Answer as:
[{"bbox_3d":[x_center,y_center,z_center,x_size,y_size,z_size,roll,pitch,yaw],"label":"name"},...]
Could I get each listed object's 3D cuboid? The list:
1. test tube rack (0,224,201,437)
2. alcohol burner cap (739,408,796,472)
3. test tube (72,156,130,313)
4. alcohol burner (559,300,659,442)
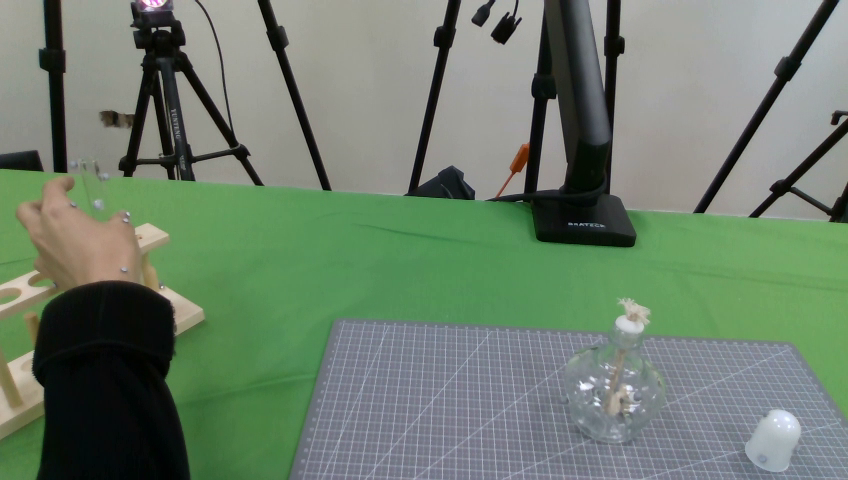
[{"bbox_3d":[-0.312,0.079,0.497,0.066,0.086,0.242,23,37,29],"label":"test tube rack"},{"bbox_3d":[0.265,0.151,0.464,0.034,0.048,0.033,1,31,0],"label":"alcohol burner cap"},{"bbox_3d":[-0.282,-0.001,0.532,0.017,0.151,0.017,0,27,0],"label":"test tube"},{"bbox_3d":[0.147,0.097,0.472,0.078,0.120,0.077,2,30,-1],"label":"alcohol burner"}]
